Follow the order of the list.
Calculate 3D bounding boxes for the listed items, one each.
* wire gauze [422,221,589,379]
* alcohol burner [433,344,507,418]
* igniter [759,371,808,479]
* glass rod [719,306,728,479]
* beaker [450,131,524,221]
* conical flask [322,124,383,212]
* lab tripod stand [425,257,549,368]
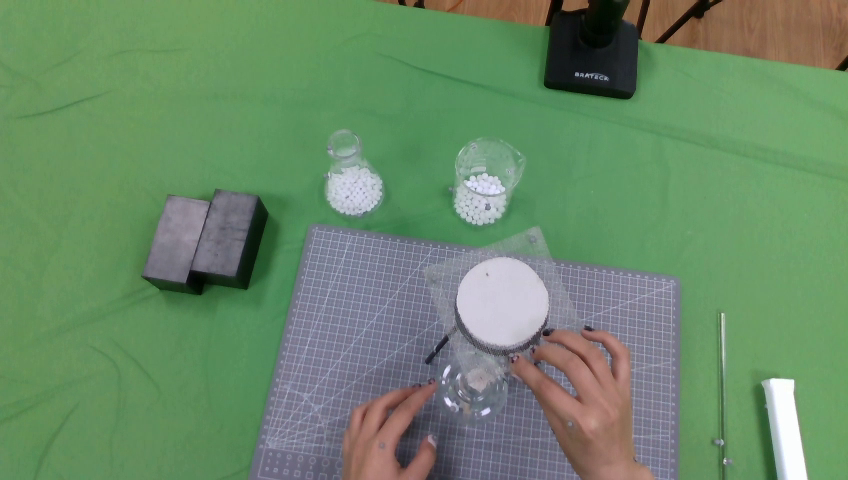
[{"bbox_3d":[0.075,0.054,0.570,0.125,0.011,0.120,-19,74,-5],"label":"wire gauze"},{"bbox_3d":[0.049,0.142,0.622,0.078,0.120,0.077,1,69,-2],"label":"alcohol burner"},{"bbox_3d":[0.387,0.277,0.632,0.057,0.025,0.274,6,71,-10],"label":"igniter"},{"bbox_3d":[0.338,0.169,0.683,0.008,0.008,0.198,11,69,2],"label":"glass rod"},{"bbox_3d":[0.070,-0.071,0.708,0.084,0.101,0.073,-17,72,-8],"label":"beaker"},{"bbox_3d":[-0.087,-0.087,0.697,0.075,0.122,0.075,0,70,-1],"label":"conical flask"},{"bbox_3d":[0.070,0.083,0.633,0.148,0.132,0.147,0,72,-1],"label":"lab tripod stand"}]
